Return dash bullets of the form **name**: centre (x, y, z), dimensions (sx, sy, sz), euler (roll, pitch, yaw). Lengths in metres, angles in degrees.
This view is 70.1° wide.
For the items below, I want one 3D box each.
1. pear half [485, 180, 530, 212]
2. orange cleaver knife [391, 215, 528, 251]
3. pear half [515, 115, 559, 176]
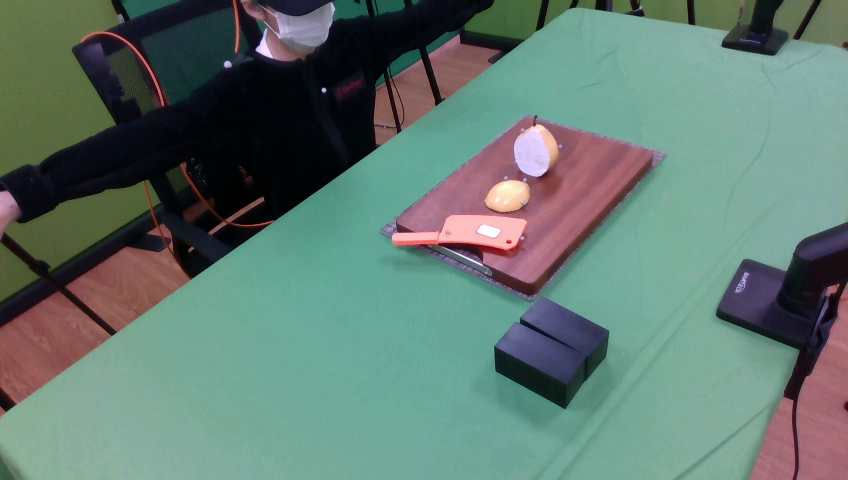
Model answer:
- **pear half**: centre (0.142, -0.081, 1.001), dimensions (0.088, 0.031, 0.070), euler (-38, 54, -26)
- **orange cleaver knife**: centre (0.055, -0.013, 0.943), dimensions (0.211, 0.012, 0.077), euler (0, 44, 14)
- **pear half**: centre (0.196, -0.169, 1.033), dimensions (0.076, 0.110, 0.056), euler (22, 49, 26)
